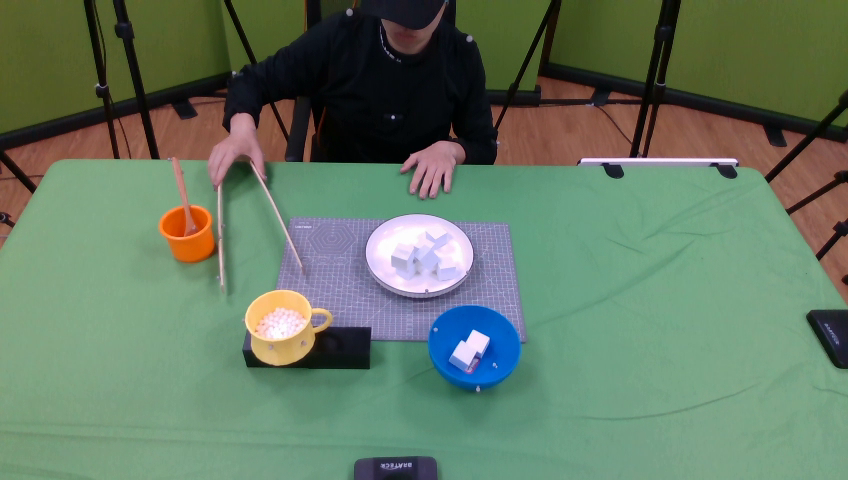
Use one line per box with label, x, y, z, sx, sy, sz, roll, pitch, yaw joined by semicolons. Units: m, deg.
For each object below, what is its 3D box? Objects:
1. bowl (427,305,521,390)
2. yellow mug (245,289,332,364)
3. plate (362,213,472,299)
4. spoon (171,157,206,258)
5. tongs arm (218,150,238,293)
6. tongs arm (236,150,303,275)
bowl;0.077;0.188;0.985;0.151;0.077;0.150;3;46;-3
yellow mug;-0.210;0.132;0.954;0.131;0.064;0.099;-9;48;-14
plate;-0.014;0.034;1.150;0.208;0.039;0.206;3;46;-2
spoon;-0.444;-0.061;1.133;0.042;0.193;0.021;-12;4;-19
tongs arm;-0.384;-0.050;1.199;0.051;0.026;0.382;-12;47;-10
tongs arm;-0.312;-0.068;1.217;0.028;0.028;0.385;-23;51;-15
